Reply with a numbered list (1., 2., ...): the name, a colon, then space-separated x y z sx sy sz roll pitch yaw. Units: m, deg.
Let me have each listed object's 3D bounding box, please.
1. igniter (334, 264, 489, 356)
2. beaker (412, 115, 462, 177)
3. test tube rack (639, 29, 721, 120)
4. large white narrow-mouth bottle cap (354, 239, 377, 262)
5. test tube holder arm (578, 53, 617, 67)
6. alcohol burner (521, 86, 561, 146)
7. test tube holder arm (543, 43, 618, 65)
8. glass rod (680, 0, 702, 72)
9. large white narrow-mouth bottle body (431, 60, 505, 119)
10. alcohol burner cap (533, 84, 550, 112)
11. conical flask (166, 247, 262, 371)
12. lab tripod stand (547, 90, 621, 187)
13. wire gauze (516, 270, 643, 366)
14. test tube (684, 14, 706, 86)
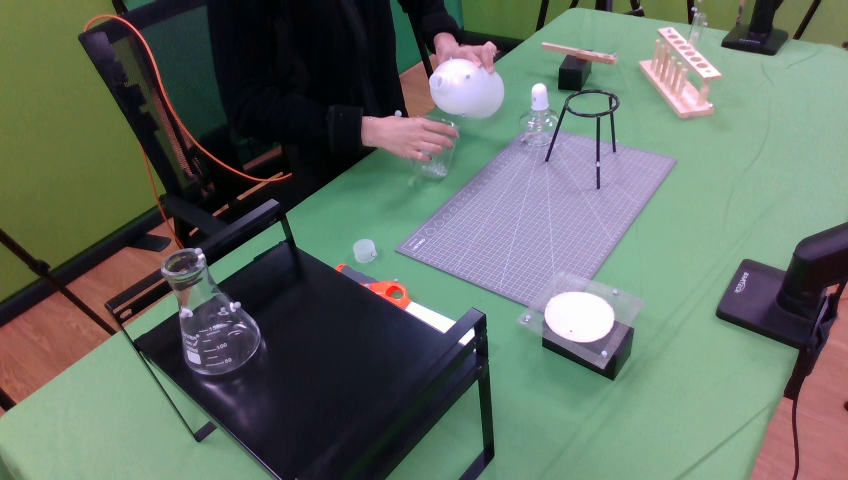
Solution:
1. igniter: -0.030 0.095 0.871 0.274 0.025 0.057 22 59 31
2. beaker: 0.024 -0.171 1.111 0.084 0.100 0.073 -3 26 -42
3. test tube rack: 0.527 -0.351 1.262 0.067 0.085 0.241 -8 40 1
4. large white narrow-mouth bottle cap: -0.095 0.017 0.981 0.038 0.024 0.037 -4 40 4
5. test tube holder arm: 0.376 -0.393 1.314 0.087 0.015 0.010 26 51 32
6. alcohol burner: 0.223 -0.241 1.155 0.078 0.119 0.077 -5 43 5
7. test tube holder arm: 0.344 -0.413 1.340 0.177 0.015 0.013 25 51 31
8. glass rod: 0.542 -0.417 1.233 0.008 0.200 0.008 1 40 0
9. large white narrow-mouth bottle body: 0.072 -0.285 1.136 0.101 0.102 0.196 19 13 28
10. alcohol burner cap: 0.218 -0.268 1.133 0.034 0.048 0.033 -8 36 7
11. conical flask: -0.208 0.064 0.584 0.075 0.122 0.075 -5 40 4
12. lab tripod stand: 0.289 -0.184 1.062 0.148 0.132 0.147 -6 41 6
13. wire gauze: 0.200 0.093 0.777 0.124 0.011 0.122 23 49 32
14. test tube: 0.540 -0.378 1.215 0.017 0.151 0.017 -2 44 3
